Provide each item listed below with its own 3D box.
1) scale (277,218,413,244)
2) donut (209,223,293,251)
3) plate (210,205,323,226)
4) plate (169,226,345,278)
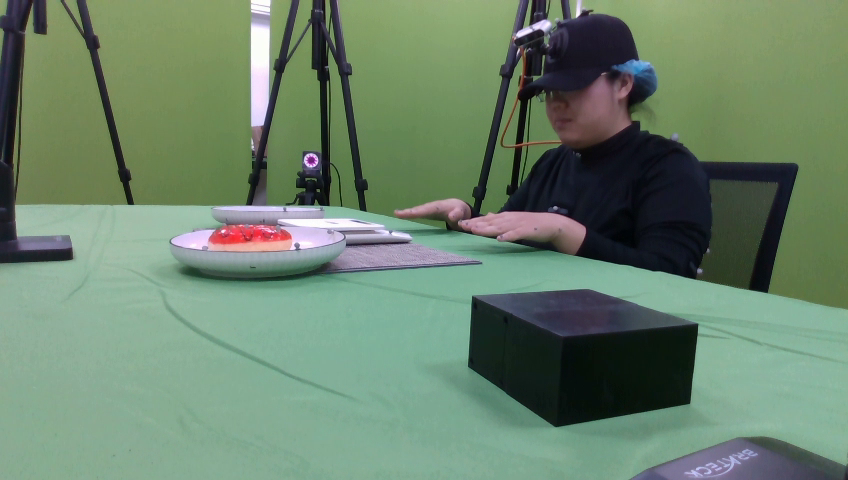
[{"bbox_3d":[-0.134,-0.016,1.015,0.202,0.031,0.148,-2,9,-33],"label":"scale"},{"bbox_3d":[-0.210,0.004,0.738,0.099,0.048,0.099,0,8,0],"label":"donut"},{"bbox_3d":[-0.298,-0.043,1.152,0.208,0.039,0.207,2,5,0],"label":"plate"},{"bbox_3d":[-0.202,0.014,0.748,0.209,0.038,0.209,1,9,0],"label":"plate"}]
